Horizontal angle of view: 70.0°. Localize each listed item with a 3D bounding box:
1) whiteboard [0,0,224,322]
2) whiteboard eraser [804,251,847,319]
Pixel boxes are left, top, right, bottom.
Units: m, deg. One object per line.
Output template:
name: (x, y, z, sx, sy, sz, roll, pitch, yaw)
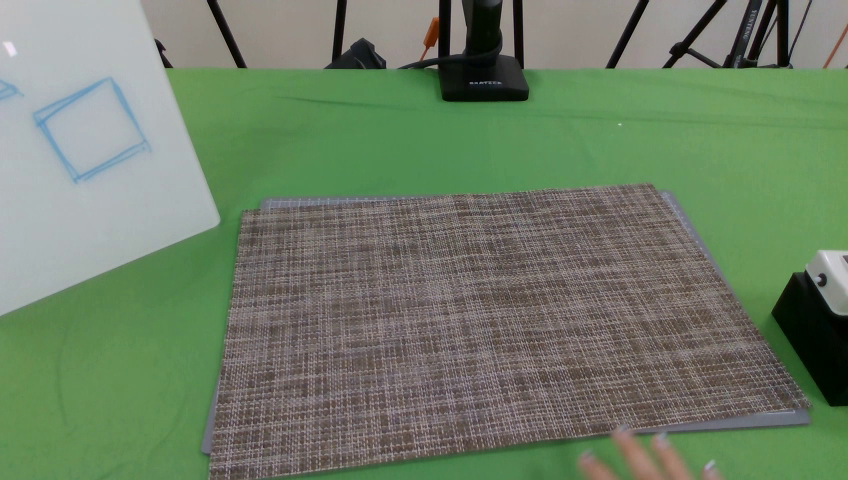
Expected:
whiteboard: (-0.354, -0.121, 0.544, 0.217, 0.308, 0.142, -27, 29, -29)
whiteboard eraser: (0.363, 0.038, 0.471, 0.113, 0.042, 0.055, 1, 39, 0)
